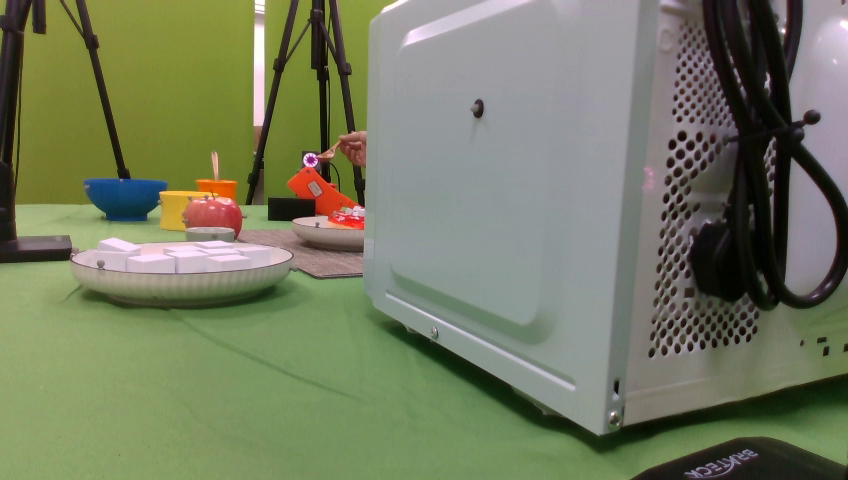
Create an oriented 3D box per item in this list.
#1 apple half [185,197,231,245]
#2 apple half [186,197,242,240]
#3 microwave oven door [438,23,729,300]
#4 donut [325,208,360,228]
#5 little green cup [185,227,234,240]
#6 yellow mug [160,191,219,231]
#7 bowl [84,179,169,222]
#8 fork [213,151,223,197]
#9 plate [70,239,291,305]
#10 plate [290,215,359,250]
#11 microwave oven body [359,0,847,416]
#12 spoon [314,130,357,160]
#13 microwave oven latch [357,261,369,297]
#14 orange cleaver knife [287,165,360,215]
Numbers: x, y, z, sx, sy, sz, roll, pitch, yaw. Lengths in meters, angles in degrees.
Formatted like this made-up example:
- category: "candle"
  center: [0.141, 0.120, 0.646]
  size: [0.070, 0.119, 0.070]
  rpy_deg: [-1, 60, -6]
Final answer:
- category: "apple half"
  center: [-0.337, -0.031, 0.928]
  size: [0.032, 0.081, 0.082]
  rpy_deg: [13, 13, 37]
- category: "apple half"
  center: [-0.307, -0.026, 0.905]
  size: [0.053, 0.074, 0.081]
  rpy_deg: [14, 9, 37]
- category: "microwave oven door"
  center: [0.181, -0.072, 0.621]
  size: [0.358, 0.243, 0.039]
  rpy_deg: [-2, 8, -29]
- category: "donut"
  center: [-0.110, -0.025, 0.974]
  size: [0.099, 0.048, 0.099]
  rpy_deg: [5, 8, 0]
- category: "little green cup"
  center: [-0.285, 0.005, 0.805]
  size: [0.061, 0.038, 0.061]
  rpy_deg: [3, 8, 0]
- category: "yellow mug"
  center: [-0.416, -0.053, 1.103]
  size: [0.130, 0.064, 0.100]
  rpy_deg: [7, 8, 27]
- category: "bowl"
  center: [-0.584, -0.078, 1.194]
  size: [0.151, 0.077, 0.151]
  rpy_deg: [3, 8, 0]
- category: "fork"
  center: [-0.494, -0.143, 1.442]
  size: [0.028, 0.018, 0.206]
  rpy_deg: [-2, 52, -20]
- category: "plate"
  center: [-0.242, 0.031, 0.618]
  size: [0.208, 0.039, 0.207]
  rpy_deg: [2, 8, 0]
- category: "plate"
  center: [-0.110, -0.013, 0.973]
  size: [0.209, 0.038, 0.209]
  rpy_deg: [3, 8, 0]
- category: "microwave oven body"
  center: [0.211, -0.047, 0.474]
  size: [0.444, 0.260, 0.324]
  rpy_deg: [-1, 7, -28]
- category: "spoon"
  center: [-0.209, -0.235, 1.472]
  size: [0.041, 0.021, 0.194]
  rpy_deg: [5, 34, 23]
- category: "microwave oven latch"
  center: [-0.019, 0.033, 0.530]
  size: [0.079, 0.029, 0.030]
  rpy_deg: [-1, 7, -26]
- category: "orange cleaver knife"
  center: [-0.210, -0.093, 1.382]
  size: [0.212, 0.077, 0.012]
  rpy_deg: [33, 1, -15]
